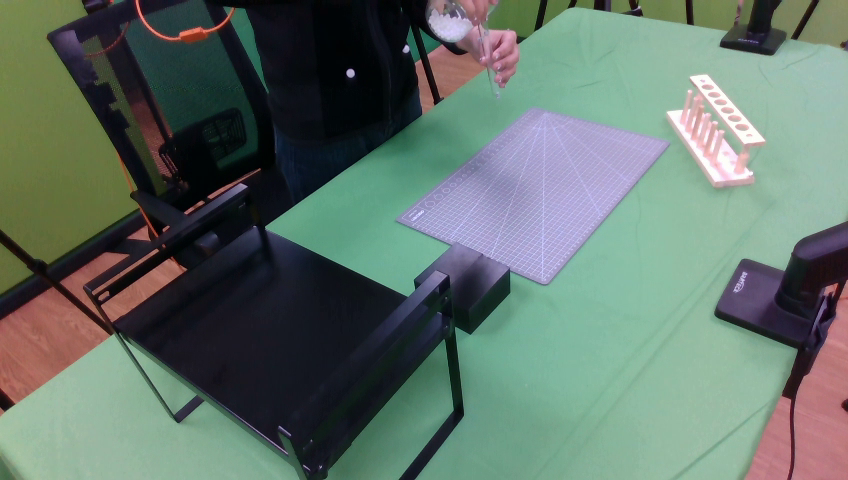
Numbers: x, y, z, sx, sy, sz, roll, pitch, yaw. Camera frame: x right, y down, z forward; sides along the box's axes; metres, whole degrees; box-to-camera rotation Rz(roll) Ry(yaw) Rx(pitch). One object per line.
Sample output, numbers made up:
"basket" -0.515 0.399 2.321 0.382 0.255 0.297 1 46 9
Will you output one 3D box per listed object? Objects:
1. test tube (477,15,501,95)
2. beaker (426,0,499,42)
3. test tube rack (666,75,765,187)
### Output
"test tube" 0.107 -0.295 0.981 0.017 0.151 0.017 -9 52 12
"beaker" 0.055 -0.337 0.873 0.073 0.084 0.100 16 50 31
"test tube rack" 0.512 -0.201 1.082 0.067 0.085 0.241 -6 41 2
